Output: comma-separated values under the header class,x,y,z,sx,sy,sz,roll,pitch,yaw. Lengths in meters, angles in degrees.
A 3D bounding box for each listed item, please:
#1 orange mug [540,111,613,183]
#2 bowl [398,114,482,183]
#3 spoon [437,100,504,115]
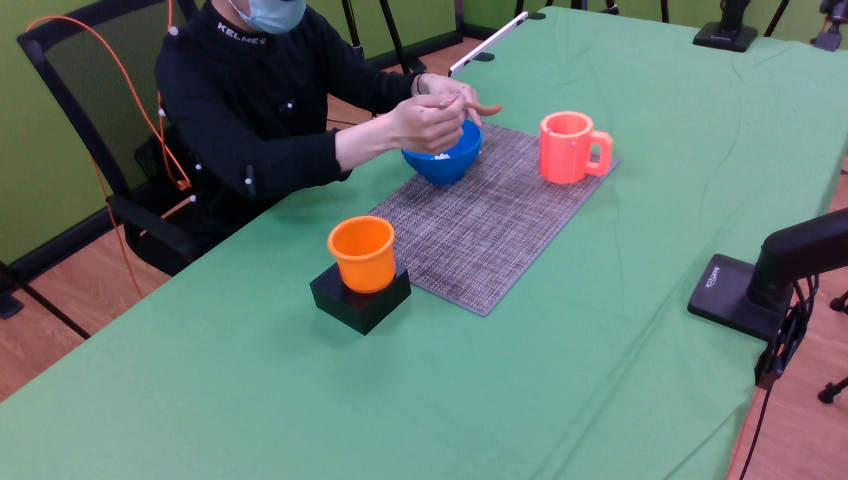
class,x,y,z,sx,sy,sz,roll,pitch,yaw
orange mug,0.263,-0.159,1.052,0.125,0.101,0.083,13,45,29
bowl,0.032,-0.156,1.097,0.151,0.077,0.150,-4,41,4
spoon,0.072,-0.212,0.957,0.041,0.021,0.195,-9,1,35
